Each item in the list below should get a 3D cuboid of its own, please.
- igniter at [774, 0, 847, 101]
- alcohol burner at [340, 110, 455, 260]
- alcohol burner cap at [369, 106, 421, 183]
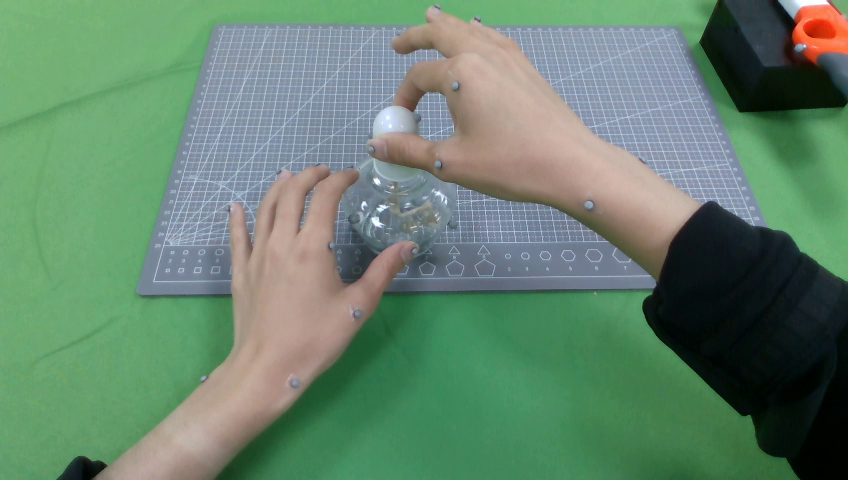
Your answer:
[{"bbox_3d":[0.327,-0.184,0.509,0.057,0.025,0.273,-5,53,-2],"label":"igniter"},{"bbox_3d":[-0.018,-0.040,0.396,0.078,0.120,0.077,0,56,0],"label":"alcohol burner"},{"bbox_3d":[-0.018,-0.061,0.368,0.034,0.048,0.033,1,59,-2],"label":"alcohol burner cap"}]
